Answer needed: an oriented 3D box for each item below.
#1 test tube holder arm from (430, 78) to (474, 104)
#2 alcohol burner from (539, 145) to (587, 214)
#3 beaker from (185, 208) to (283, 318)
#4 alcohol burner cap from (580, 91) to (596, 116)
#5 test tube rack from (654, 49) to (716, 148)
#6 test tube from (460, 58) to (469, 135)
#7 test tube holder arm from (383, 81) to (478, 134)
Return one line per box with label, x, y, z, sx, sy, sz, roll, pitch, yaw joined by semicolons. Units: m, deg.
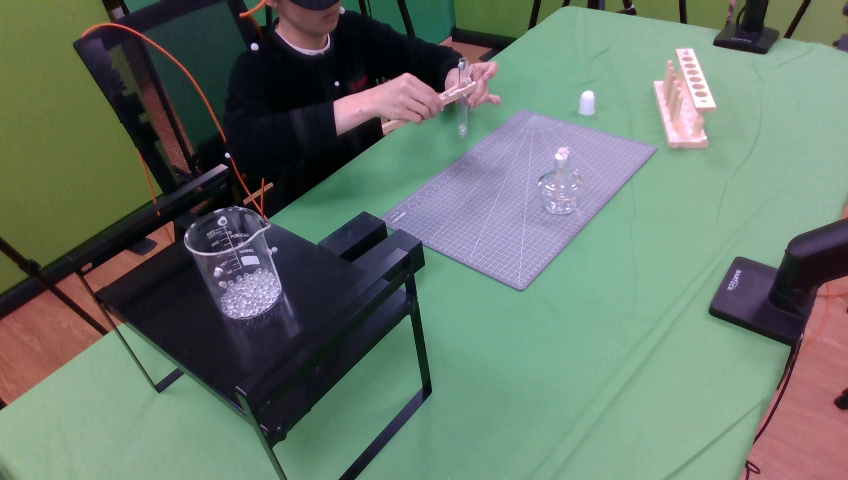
test tube holder arm;0.048;-0.250;1.031;0.088;0.015;0.010;-34;48;-14
alcohol burner;0.226;-0.102;0.986;0.078;0.119;0.077;-6;41;6
beaker;-0.192;0.026;0.637;0.084;0.101;0.073;-13;41;-7
alcohol burner cap;0.338;-0.283;1.238;0.034;0.048;0.033;-4;41;4
test tube rack;0.502;-0.280;1.176;0.066;0.085;0.241;1;41;11
test tube;0.070;-0.245;1.048;0.017;0.151;0.017;-2;46;2
test tube holder arm;0.012;-0.224;1.018;0.179;0.015;0.013;-29;47;-10
